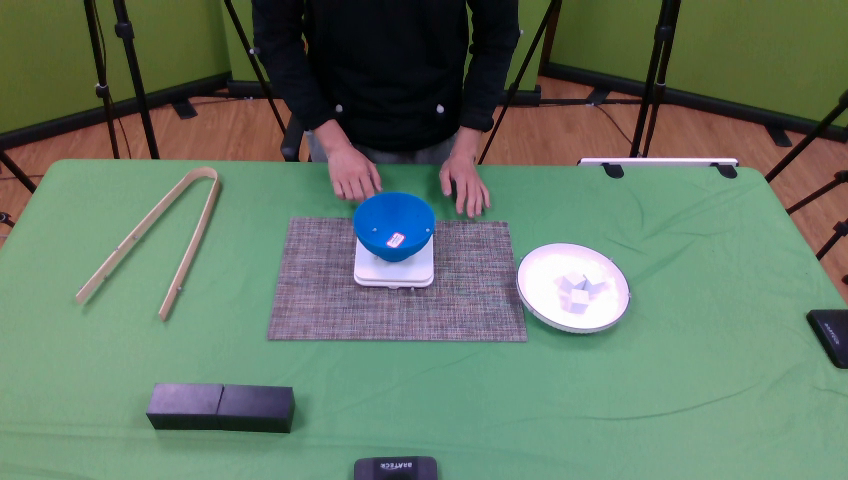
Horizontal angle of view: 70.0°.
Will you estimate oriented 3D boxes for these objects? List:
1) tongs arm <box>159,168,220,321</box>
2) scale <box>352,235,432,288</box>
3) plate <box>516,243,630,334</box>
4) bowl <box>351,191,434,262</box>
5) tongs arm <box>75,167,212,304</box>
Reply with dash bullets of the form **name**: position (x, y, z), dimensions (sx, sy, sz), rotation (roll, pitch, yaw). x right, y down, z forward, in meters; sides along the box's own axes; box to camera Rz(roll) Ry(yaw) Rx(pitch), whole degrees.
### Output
- **tongs arm**: position (-0.446, -0.006, 1.164), dimensions (0.028, 0.028, 0.385), rotation (1, 46, 0)
- **scale**: position (-0.059, 0.010, 1.171), dimensions (0.149, 0.032, 0.199), rotation (2, 46, -3)
- **plate**: position (0.272, 0.092, 1.120), dimensions (0.208, 0.039, 0.206), rotation (2, 46, -2)
- **bowl**: position (-0.057, -0.013, 1.119), dimensions (0.151, 0.077, 0.150), rotation (1, 46, -1)
- **tongs arm**: position (-0.526, -0.021, 1.167), dimensions (0.051, 0.026, 0.383), rotation (13, 46, 7)
